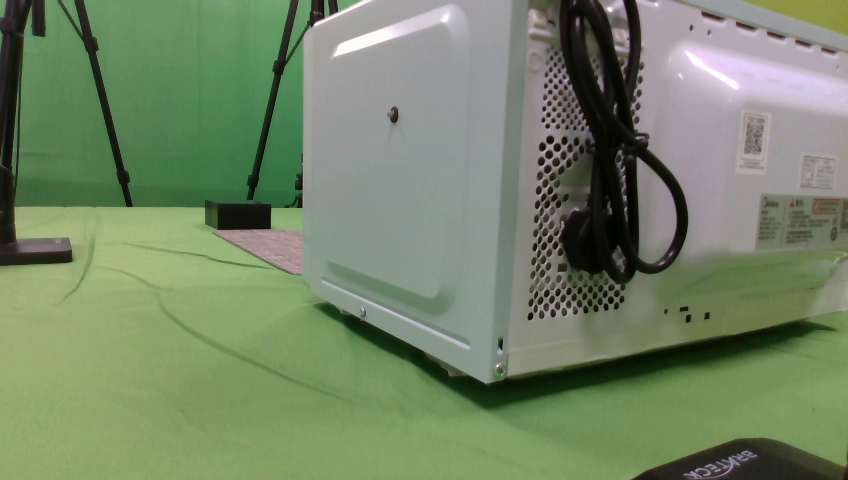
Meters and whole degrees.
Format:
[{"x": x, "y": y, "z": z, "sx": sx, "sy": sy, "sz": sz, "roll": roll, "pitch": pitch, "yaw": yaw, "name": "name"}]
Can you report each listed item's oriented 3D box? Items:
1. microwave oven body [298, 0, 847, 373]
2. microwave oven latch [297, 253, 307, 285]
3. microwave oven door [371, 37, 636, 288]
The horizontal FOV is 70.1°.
[{"x": 0.151, "y": -0.055, "z": 0.543, "sx": 0.444, "sy": 0.260, "sz": 0.324, "roll": -1, "pitch": 7, "yaw": -33, "name": "microwave oven body"}, {"x": -0.082, "y": 0.027, "z": 0.582, "sx": 0.079, "sy": 0.029, "sz": 0.030, "roll": -1, "pitch": 7, "yaw": -32, "name": "microwave oven latch"}, {"x": 0.109, "y": -0.080, "z": 0.686, "sx": 0.358, "sy": 0.243, "sz": 0.039, "roll": -2, "pitch": 9, "yaw": -33, "name": "microwave oven door"}]
